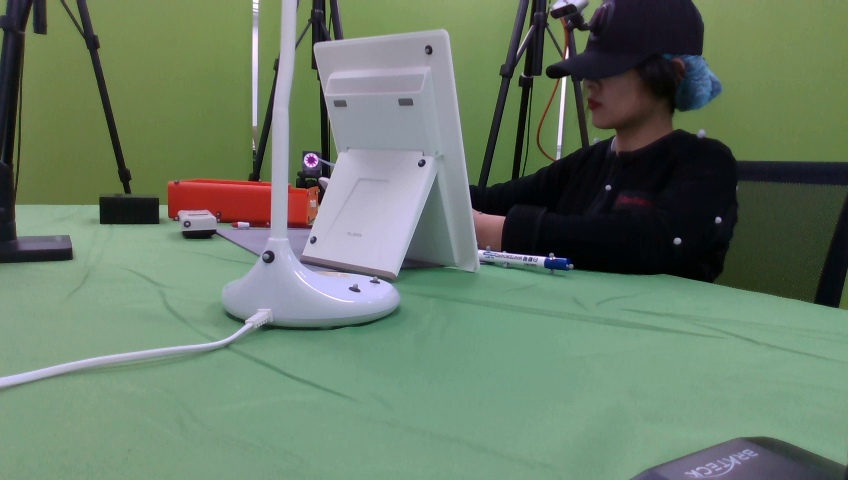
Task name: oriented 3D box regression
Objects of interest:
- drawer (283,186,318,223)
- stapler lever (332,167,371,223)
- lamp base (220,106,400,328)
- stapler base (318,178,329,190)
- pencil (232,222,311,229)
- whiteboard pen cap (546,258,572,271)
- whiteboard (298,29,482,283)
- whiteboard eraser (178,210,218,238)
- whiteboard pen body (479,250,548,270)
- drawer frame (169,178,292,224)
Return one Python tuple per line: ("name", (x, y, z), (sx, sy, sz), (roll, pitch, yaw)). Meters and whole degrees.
("drawer", (-0.342, -0.083, 1.310), (0.212, 0.073, 0.194), (2, 8, -4))
("stapler lever", (-0.132, -0.087, 1.141), (0.040, 0.118, 0.026), (-43, 36, -16))
("lamp base", (-0.101, -0.023, 0.531), (0.160, 0.180, 0.179), (4, 10, 10))
("stapler base", (-0.149, -0.070, 1.132), (0.024, 0.131, 0.041), (-44, 36, -16))
("pencil", (-0.261, -0.025, 1.140), (0.195, 0.012, 0.012), (2, 7, -26))
("whiteboard pen cap", (0.175, 0.032, 0.790), (0.033, 0.018, 0.018), (3, 6, 37))
("whiteboard", (-0.075, -0.082, 0.741), (0.216, 0.305, 0.144), (9, 29, 37))
("whiteboard eraser", (-0.380, -0.027, 1.014), (0.056, 0.042, 0.112), (0, 8, -25))
("whiteboard pen body", (0.130, 0.028, 0.827), (0.140, 0.017, 0.017), (7, 9, 38))
("drawer frame", (-0.406, -0.087, 1.304), (0.214, 0.082, 0.201), (1, 8, -5))
